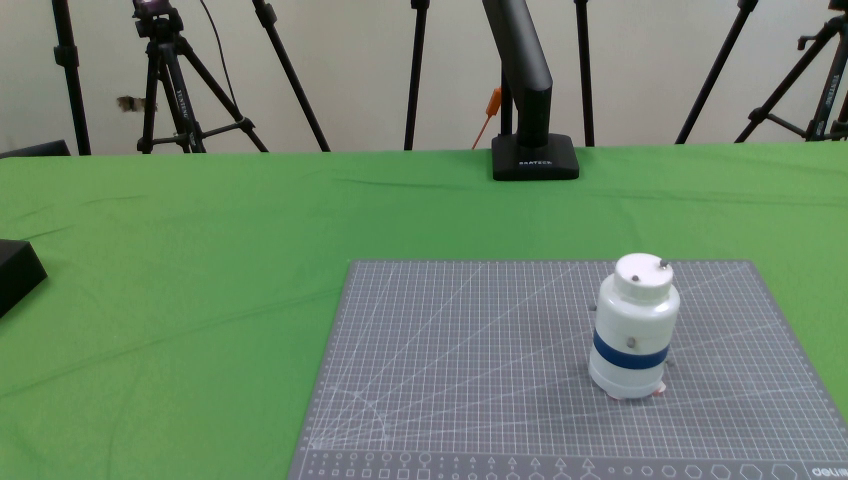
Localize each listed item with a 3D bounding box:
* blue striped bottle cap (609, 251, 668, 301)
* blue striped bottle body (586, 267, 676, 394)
[{"bbox_3d":[0.171,0.028,0.484,0.044,0.021,0.044,-2,36,2],"label":"blue striped bottle cap"},{"bbox_3d":[0.175,0.069,0.514,0.063,0.122,0.062,-2,36,2],"label":"blue striped bottle body"}]
